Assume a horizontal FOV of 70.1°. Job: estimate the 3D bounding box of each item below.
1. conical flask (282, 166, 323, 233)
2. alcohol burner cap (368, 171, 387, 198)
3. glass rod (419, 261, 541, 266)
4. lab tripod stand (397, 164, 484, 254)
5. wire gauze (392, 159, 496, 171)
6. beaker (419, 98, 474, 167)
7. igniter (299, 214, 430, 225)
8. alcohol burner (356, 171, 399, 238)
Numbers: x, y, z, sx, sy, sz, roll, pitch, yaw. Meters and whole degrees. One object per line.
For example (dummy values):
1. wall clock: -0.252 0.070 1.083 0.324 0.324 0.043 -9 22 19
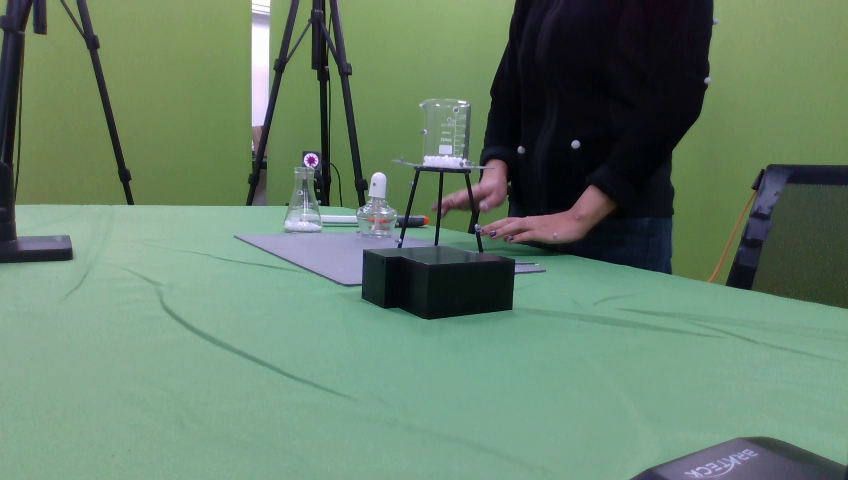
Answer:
1. conical flask: -0.225 -0.076 1.129 0.075 0.122 0.075 2 8 0
2. alcohol burner cap: -0.083 -0.100 1.088 0.034 0.048 0.034 7 3 0
3. glass rod: 0.080 0.031 0.807 0.201 0.008 0.008 1 6 -32
4. lab tripod stand: 0.029 -0.049 0.930 0.148 0.131 0.148 4 7 0
5. wire gauze: 0.032 -0.114 0.923 0.124 0.011 0.122 5 5 32
6. beaker: 0.032 -0.161 0.913 0.084 0.100 0.074 1 7 -10
7. igniter: -0.123 -0.044 1.281 0.278 0.025 0.057 0 -2 -19
8. alcohol burner: -0.084 -0.064 1.092 0.078 0.119 0.078 2 10 0
